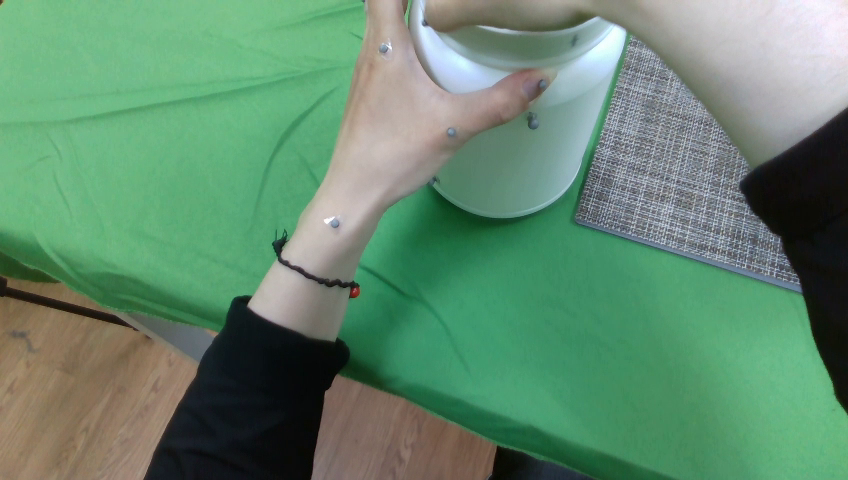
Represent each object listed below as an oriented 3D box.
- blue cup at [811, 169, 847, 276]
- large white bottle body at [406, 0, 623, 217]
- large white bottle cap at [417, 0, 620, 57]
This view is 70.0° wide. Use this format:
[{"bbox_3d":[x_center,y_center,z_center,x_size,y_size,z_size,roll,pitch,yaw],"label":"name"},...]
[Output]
[{"bbox_3d":[0.310,-0.020,0.397,0.092,0.101,0.092,-1,63,3],"label":"blue cup"},{"bbox_3d":[0.055,-0.111,0.406,0.130,0.186,0.129,-1,65,2],"label":"large white bottle body"},{"bbox_3d":[0.051,-0.148,0.329,0.115,0.018,0.114,0,65,1],"label":"large white bottle cap"}]
